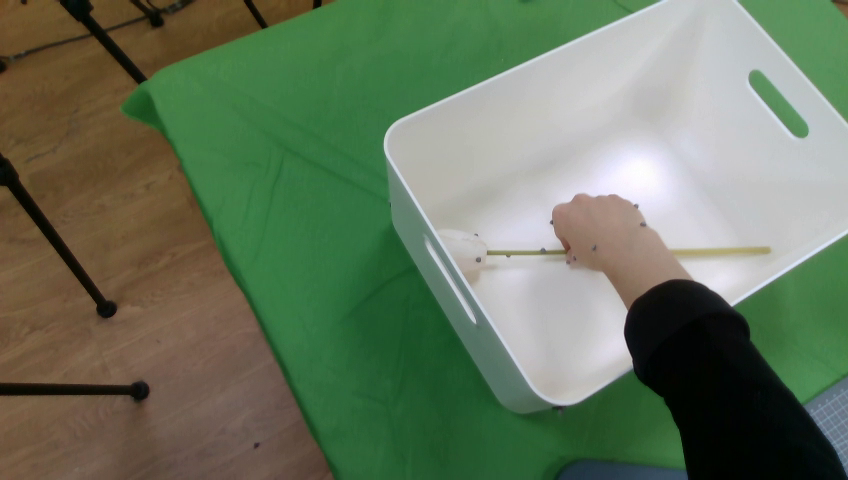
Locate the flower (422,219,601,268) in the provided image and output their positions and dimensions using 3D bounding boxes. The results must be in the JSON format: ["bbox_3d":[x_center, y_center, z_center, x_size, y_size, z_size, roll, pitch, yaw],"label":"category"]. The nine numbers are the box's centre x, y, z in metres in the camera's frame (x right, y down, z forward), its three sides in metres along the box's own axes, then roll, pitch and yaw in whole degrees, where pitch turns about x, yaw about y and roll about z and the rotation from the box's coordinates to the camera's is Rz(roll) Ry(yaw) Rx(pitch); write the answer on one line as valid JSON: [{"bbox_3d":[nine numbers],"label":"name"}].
[{"bbox_3d":[0.172,0.008,0.619,0.363,0.044,0.038,3,33,-20],"label":"flower"}]

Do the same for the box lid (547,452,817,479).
[{"bbox_3d":[0.282,0.333,0.509,0.372,0.015,0.261,7,70,-1],"label":"box lid"}]

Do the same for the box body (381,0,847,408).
[{"bbox_3d":[0.169,-0.038,0.557,0.364,0.161,0.252,-28,74,-14],"label":"box body"}]
